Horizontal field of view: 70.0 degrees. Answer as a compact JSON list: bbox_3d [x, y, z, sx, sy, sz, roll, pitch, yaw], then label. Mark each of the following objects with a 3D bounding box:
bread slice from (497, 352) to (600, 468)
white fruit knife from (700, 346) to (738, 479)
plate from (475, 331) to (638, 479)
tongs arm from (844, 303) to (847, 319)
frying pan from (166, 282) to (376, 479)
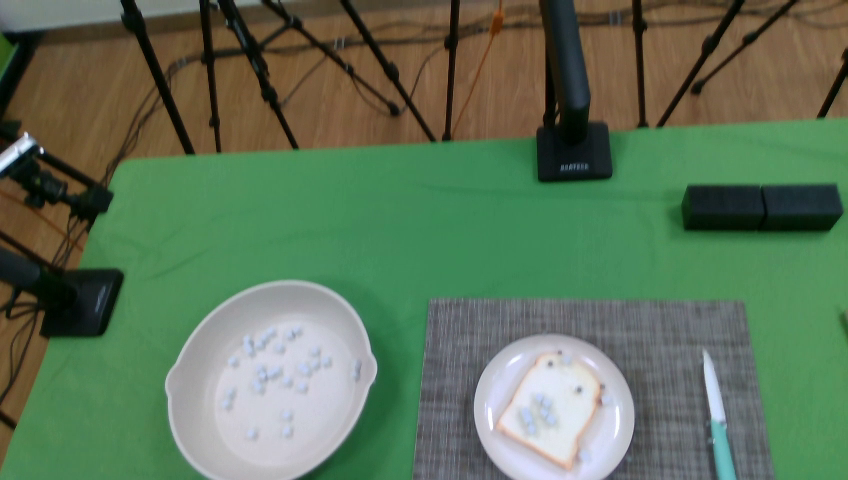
[{"bbox_3d":[0.171,0.217,0.807,0.106,0.018,0.134,21,68,21],"label":"bread slice"},{"bbox_3d":[0.375,0.232,0.772,0.027,0.016,0.205,13,57,-15],"label":"white fruit knife"},{"bbox_3d":[0.172,0.223,0.801,0.207,0.039,0.205,-5,59,8],"label":"plate"},{"bbox_3d":[0.588,0.249,0.717,0.028,0.028,0.384,-8,59,3],"label":"tongs arm"},{"bbox_3d":[-0.215,0.284,0.803,0.306,0.104,0.483,-4,51,9],"label":"frying pan"}]
